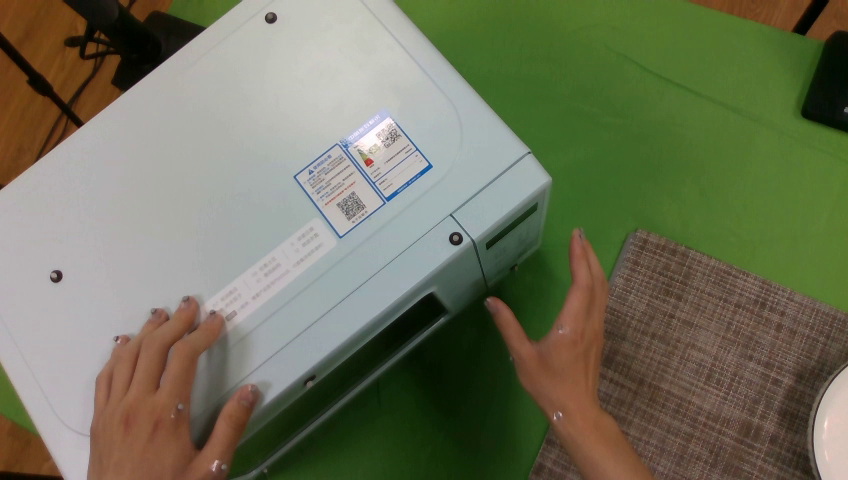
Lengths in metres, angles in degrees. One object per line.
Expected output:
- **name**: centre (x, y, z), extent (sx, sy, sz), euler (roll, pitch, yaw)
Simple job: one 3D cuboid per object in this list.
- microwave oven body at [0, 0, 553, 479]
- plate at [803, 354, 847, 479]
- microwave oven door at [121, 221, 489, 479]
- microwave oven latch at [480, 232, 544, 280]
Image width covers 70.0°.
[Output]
- **microwave oven body**: centre (-0.148, -0.011, 0.607), extent (0.441, 0.261, 0.324), euler (-39, 76, -1)
- **plate**: centre (0.475, 0.200, 0.586), extent (0.207, 0.039, 0.206), euler (-2, 78, 8)
- **microwave oven door**: centre (-0.093, 0.124, 0.565), extent (0.356, 0.245, 0.039), euler (-39, 74, -1)
- **microwave oven latch**: centre (0.095, 0.010, 0.668), extent (0.079, 0.029, 0.030), euler (-36, 76, 0)
